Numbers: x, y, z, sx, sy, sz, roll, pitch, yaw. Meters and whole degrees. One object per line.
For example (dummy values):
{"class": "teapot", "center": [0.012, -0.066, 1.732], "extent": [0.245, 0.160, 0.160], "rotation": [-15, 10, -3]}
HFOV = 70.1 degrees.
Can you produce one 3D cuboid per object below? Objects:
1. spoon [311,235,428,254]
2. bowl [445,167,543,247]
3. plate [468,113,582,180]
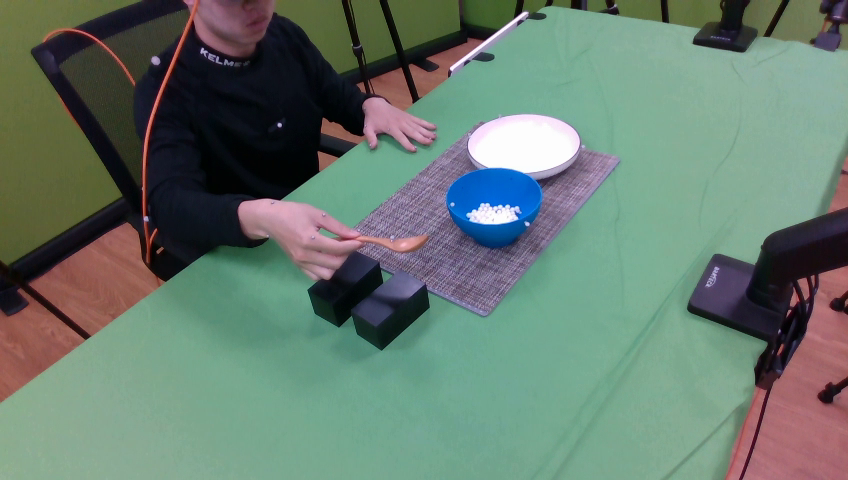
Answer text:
{"class": "spoon", "center": [-0.080, 0.003, 0.835], "extent": [0.192, 0.022, 0.042], "rotation": [3, 31, 28]}
{"class": "bowl", "center": [0.111, -0.042, 0.952], "extent": [0.151, 0.077, 0.150], "rotation": [-4, 41, 4]}
{"class": "plate", "center": [0.186, -0.169, 1.122], "extent": [0.207, 0.039, 0.206], "rotation": [-4, 40, 4]}
